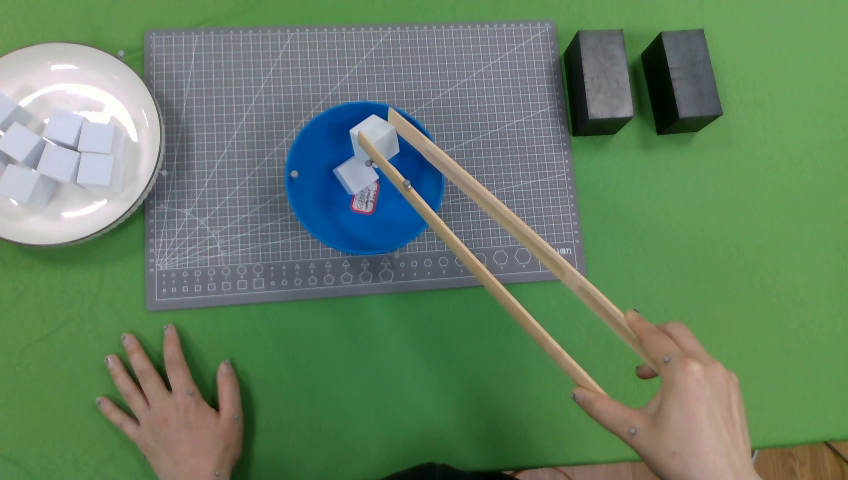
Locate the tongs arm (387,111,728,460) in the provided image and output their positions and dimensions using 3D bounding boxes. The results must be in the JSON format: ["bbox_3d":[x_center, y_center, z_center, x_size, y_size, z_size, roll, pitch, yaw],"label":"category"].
[{"bbox_3d":[0.092,0.020,0.498,0.028,0.028,0.385,-35,70,-26],"label":"tongs arm"}]

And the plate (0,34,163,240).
[{"bbox_3d":[-0.362,-0.099,0.598,0.208,0.039,0.207,1,80,-5],"label":"plate"}]

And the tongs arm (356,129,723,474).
[{"bbox_3d":[0.074,0.033,0.489,0.051,0.027,0.382,-32,69,-21],"label":"tongs arm"}]

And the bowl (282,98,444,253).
[{"bbox_3d":[-0.060,-0.055,0.601,0.151,0.077,0.151,1,80,-6],"label":"bowl"}]
